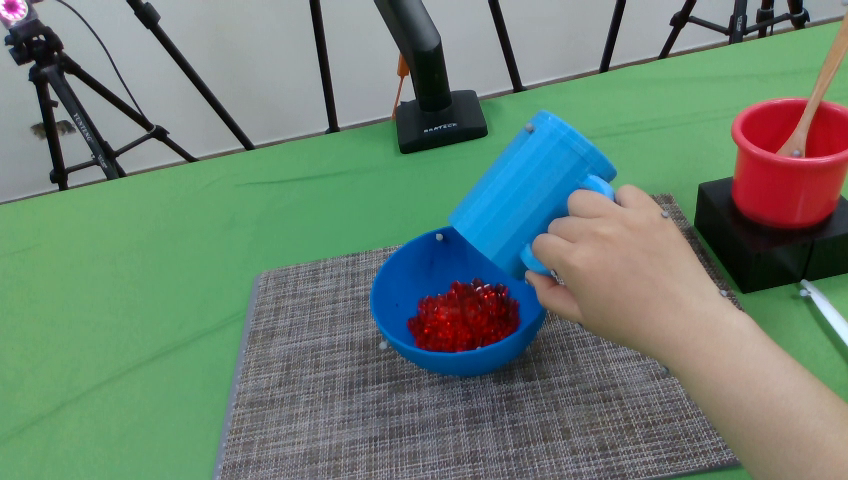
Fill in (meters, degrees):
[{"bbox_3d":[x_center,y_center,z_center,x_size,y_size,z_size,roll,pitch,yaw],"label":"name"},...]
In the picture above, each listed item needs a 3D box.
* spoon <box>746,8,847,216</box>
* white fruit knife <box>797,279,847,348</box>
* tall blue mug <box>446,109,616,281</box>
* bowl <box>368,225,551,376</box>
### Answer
[{"bbox_3d":[0.324,-0.110,0.506,0.041,0.022,0.194,27,99,40],"label":"spoon"},{"bbox_3d":[0.332,0.098,0.444,0.027,0.016,0.205,10,36,-13],"label":"white fruit knife"},{"bbox_3d":[0.082,-0.029,0.446,0.108,0.078,0.106,-49,12,8],"label":"tall blue mug"},{"bbox_3d":[0.034,0.062,0.515,0.151,0.077,0.150,-8,41,8],"label":"bowl"}]
